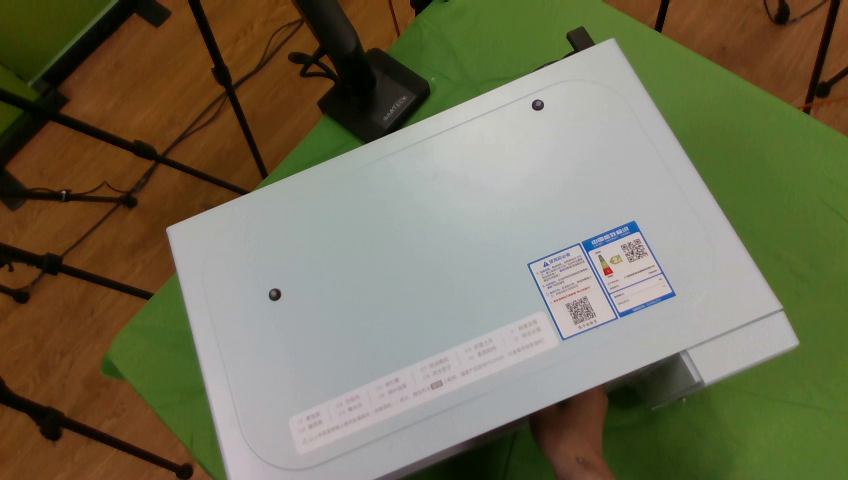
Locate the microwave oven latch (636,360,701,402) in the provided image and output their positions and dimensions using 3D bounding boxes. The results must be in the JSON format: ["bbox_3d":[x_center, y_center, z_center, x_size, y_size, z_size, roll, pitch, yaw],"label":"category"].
[{"bbox_3d":[0.269,0.145,0.643,0.079,0.030,0.030,-22,69,2],"label":"microwave oven latch"}]

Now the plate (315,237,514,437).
[{"bbox_3d":[-0.010,0.101,0.647,0.207,0.039,0.206,-1,78,5],"label":"plate"}]

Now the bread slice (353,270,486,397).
[{"bbox_3d":[-0.011,0.095,0.659,0.131,0.019,0.104,27,76,-1],"label":"bread slice"}]

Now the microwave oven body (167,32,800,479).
[{"bbox_3d":[0.037,0.056,0.607,0.442,0.262,0.323,-23,69,1],"label":"microwave oven body"}]
